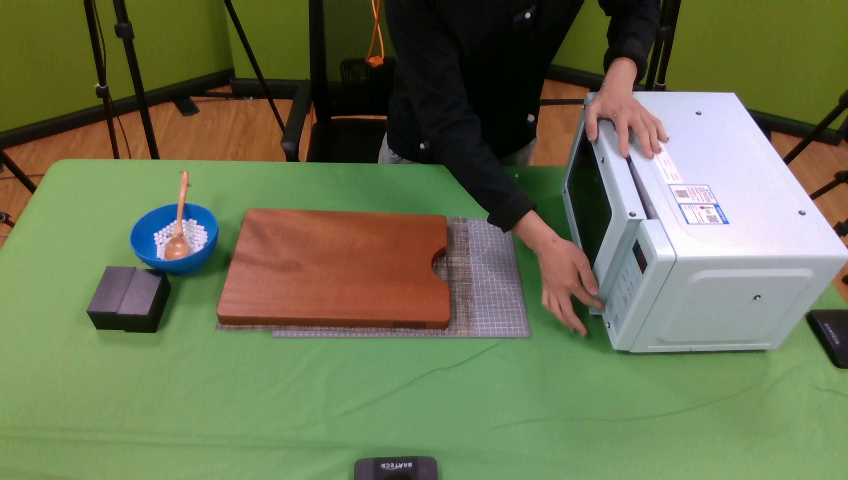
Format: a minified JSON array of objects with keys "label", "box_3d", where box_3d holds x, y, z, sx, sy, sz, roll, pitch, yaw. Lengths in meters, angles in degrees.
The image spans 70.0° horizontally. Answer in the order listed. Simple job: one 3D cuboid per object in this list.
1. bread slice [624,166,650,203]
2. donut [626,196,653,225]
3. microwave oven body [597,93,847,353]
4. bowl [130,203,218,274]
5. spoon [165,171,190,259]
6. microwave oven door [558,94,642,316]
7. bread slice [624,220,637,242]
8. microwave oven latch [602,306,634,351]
[{"label":"bread slice","box_3d":[0.438,-0.106,1.153,0.135,0.018,0.106,-4,41,-26]},{"label":"donut","box_3d":[0.431,-0.060,1.175,0.099,0.048,0.098,-8,26,4]},{"label":"microwave oven body","box_3d":[0.475,-0.041,1.110,0.326,0.261,0.438,-1,45,-4]},{"label":"bowl","box_3d":[-0.450,0.010,1.116,0.151,0.077,0.150,3,45,-2]},{"label":"spoon","box_3d":[-0.452,-0.046,1.129,0.041,0.022,0.193,-1,69,-2]},{"label":"microwave oven door","box_3d":[0.316,-0.074,1.123,0.039,0.245,0.353,2,46,-2]},{"label":"bread slice","box_3d":[0.464,-0.038,1.203,0.131,0.019,0.104,-7,35,8]},{"label":"microwave oven latch","box_3d":[0.332,0.153,1.044,0.030,0.029,0.078,0,45,-4]}]
